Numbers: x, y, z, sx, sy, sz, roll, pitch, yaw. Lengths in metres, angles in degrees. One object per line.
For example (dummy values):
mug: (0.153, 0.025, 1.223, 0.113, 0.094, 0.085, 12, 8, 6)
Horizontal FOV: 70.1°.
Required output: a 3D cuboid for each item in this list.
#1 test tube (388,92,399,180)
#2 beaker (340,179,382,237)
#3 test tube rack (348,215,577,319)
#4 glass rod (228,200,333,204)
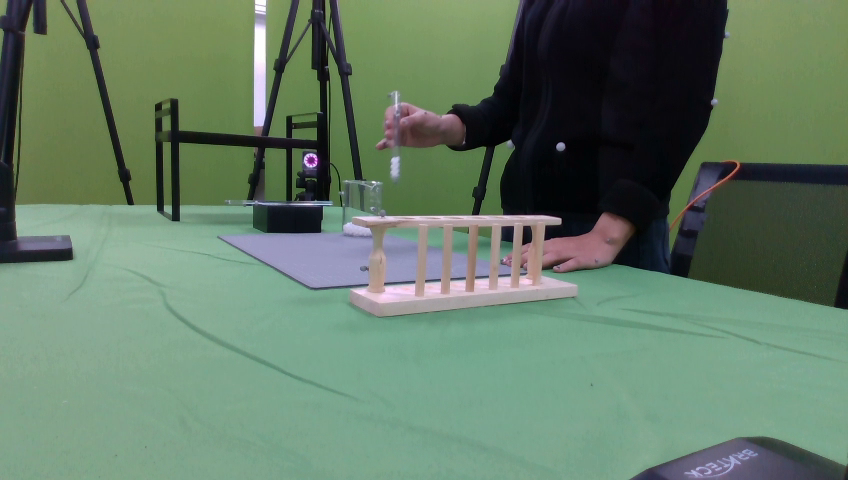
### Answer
test tube: (-0.049, -0.171, 0.991, 0.017, 0.150, 0.017, 1, -11, 0)
beaker: (-0.113, -0.058, 1.094, 0.074, 0.100, 0.083, -2, 10, -29)
test tube rack: (0.048, 0.021, 0.619, 0.244, 0.085, 0.066, -2, 8, -31)
glass rod: (-0.268, -0.071, 1.143, 0.201, 0.008, 0.008, -1, 8, -29)
